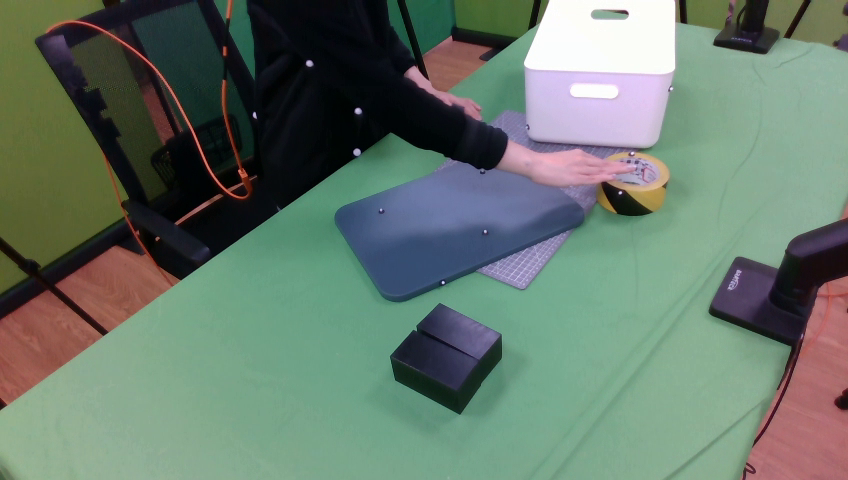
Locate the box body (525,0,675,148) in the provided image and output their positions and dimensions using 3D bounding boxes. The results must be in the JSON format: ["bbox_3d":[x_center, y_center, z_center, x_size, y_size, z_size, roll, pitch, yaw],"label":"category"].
[{"bbox_3d":[0.356,-0.342,1.212,0.253,0.161,0.363,7,42,17],"label":"box body"}]

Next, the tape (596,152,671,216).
[{"bbox_3d":[0.349,-0.095,1.009,0.117,0.053,0.116,-3,42,3],"label":"tape"}]

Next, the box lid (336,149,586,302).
[{"bbox_3d":[0.055,-0.040,1.022,0.373,0.015,0.261,-22,42,-16],"label":"box lid"}]
